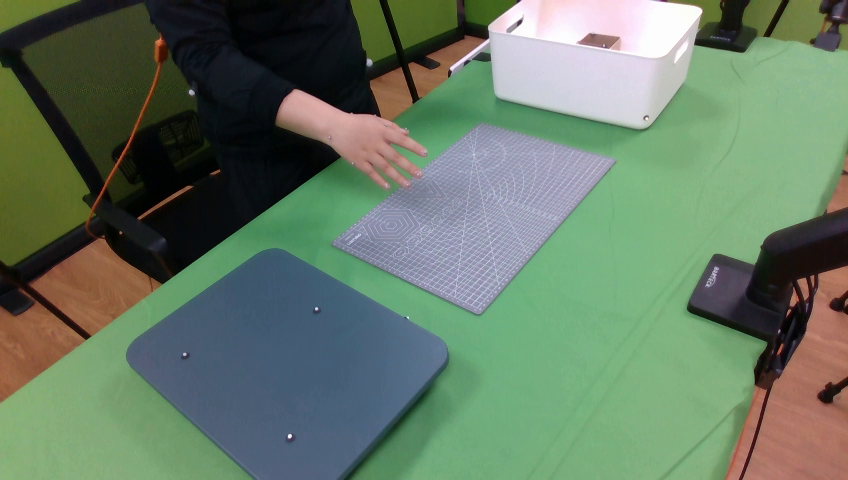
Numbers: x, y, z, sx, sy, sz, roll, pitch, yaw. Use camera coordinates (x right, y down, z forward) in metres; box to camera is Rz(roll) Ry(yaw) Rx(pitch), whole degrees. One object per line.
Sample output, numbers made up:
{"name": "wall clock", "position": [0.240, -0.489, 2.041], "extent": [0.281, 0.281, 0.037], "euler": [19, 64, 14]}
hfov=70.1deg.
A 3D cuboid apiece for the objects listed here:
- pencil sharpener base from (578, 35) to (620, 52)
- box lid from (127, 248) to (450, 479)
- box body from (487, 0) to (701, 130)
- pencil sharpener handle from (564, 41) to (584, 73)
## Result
{"name": "pencil sharpener base", "position": [0.362, -0.367, 1.273], "extent": [0.076, 0.107, 0.061], "euler": [20, 48, 30]}
{"name": "box lid", "position": [-0.177, 0.145, 0.768], "extent": [0.368, 0.015, 0.264], "euler": [24, 50, 32]}
{"name": "box body", "position": [0.345, -0.379, 1.257], "extent": [0.361, 0.161, 0.255], "euler": [20, 48, 29]}
{"name": "pencil sharpener handle", "position": [0.318, -0.391, 1.288], "extent": [0.030, 0.068, 0.036], "euler": [20, 39, 30]}
